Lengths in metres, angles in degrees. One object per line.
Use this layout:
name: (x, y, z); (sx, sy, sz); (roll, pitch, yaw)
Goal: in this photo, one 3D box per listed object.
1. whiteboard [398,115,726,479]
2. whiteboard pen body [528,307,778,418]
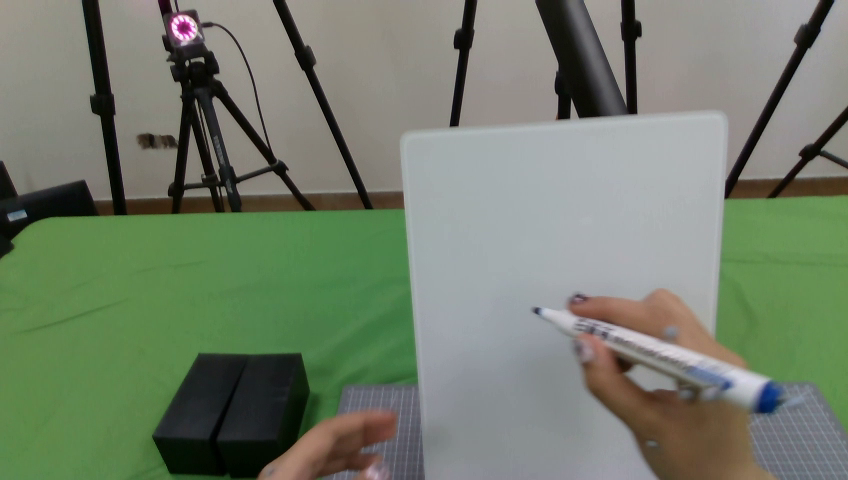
whiteboard: (0.102, 0.055, 0.500); (0.217, 0.306, 0.143); (-3, 14, 3)
whiteboard pen body: (0.106, 0.057, 0.313); (0.017, 0.017, 0.139); (-27, 28, -31)
